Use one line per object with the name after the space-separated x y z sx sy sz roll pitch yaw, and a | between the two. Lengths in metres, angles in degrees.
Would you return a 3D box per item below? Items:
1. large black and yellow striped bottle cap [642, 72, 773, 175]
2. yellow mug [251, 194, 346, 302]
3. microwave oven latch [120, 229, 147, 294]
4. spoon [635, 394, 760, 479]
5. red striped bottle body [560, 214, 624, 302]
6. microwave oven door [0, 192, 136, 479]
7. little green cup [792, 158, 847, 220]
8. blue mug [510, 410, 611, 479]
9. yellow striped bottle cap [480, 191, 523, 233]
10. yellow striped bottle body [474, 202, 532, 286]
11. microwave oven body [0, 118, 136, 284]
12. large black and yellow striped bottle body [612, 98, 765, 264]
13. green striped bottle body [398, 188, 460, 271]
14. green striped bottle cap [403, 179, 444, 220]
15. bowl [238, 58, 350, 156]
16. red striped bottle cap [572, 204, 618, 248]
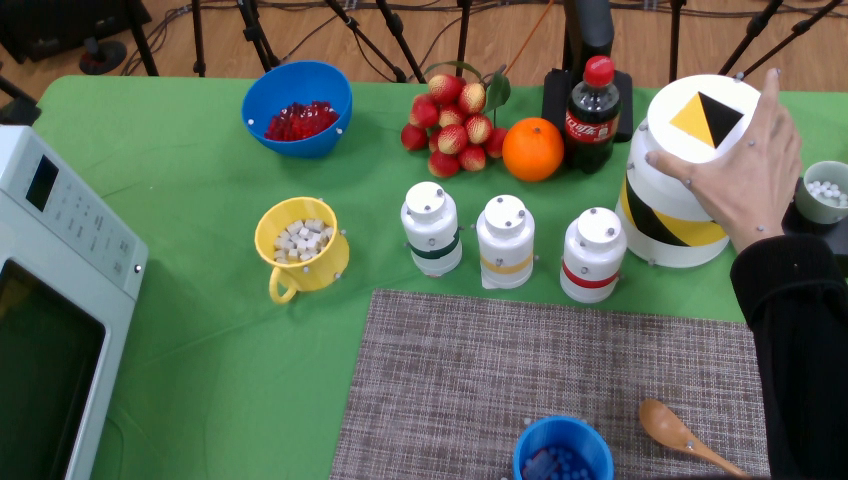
0.269 -0.114 0.580 0.115 0.019 0.114 -5 59 9 | large black and yellow striped bottle cap
-0.156 0.015 0.734 0.099 0.064 0.130 13 63 15 | yellow mug
-0.369 0.027 0.752 0.030 0.030 0.078 -2 60 6 | microwave oven latch
0.286 0.214 0.574 0.192 0.022 0.041 34 47 24 | spoon
0.180 0.013 0.656 0.063 0.121 0.062 -5 56 8 | red striped bottle body
-0.383 0.163 0.554 0.039 0.246 0.352 -4 59 6 | microwave oven door
0.429 -0.053 0.649 0.061 0.039 0.061 -3 58 5 | little green cup
0.106 0.217 0.549 0.116 0.107 0.081 -25 58 -7 | blue mug
0.081 -0.029 0.633 0.044 0.019 0.044 -1 57 2 | yellow striped bottle cap
0.089 -0.003 0.678 0.063 0.121 0.062 -4 58 7 | yellow striped bottle body
-0.527 0.139 0.594 0.326 0.262 0.437 -4 60 5 | microwave oven body
0.280 -0.070 0.654 0.130 0.186 0.129 -4 59 6 | large black and yellow striped bottle body
0.006 -0.018 0.699 0.063 0.120 0.062 -3 59 6 | green striped bottle body
-0.001 -0.044 0.655 0.044 0.020 0.044 -4 57 6 | green striped bottle cap
-0.169 -0.171 0.839 0.151 0.077 0.150 -3 59 6 | bowl
0.173 -0.014 0.612 0.044 0.018 0.044 -1 58 3 | red striped bottle cap
